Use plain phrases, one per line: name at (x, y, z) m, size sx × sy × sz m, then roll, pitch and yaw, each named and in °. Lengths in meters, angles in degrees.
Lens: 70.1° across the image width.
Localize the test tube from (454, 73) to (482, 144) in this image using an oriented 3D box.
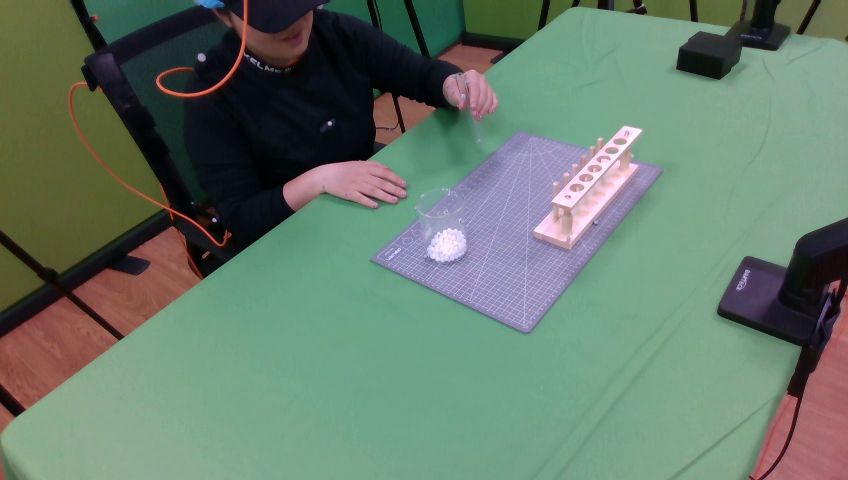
test tube at (0.082, -0.235, 1.094) m, size 0.017 × 0.151 × 0.017 m, roll -12°, pitch 44°, yaw 13°

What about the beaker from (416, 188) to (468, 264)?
beaker at (0.032, -0.021, 0.937) m, size 0.073 × 0.101 × 0.084 m, roll 9°, pitch 42°, yaw 20°

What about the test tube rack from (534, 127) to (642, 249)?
test tube rack at (0.271, -0.095, 0.990) m, size 0.066 × 0.085 × 0.243 m, roll 23°, pitch 49°, yaw 33°
